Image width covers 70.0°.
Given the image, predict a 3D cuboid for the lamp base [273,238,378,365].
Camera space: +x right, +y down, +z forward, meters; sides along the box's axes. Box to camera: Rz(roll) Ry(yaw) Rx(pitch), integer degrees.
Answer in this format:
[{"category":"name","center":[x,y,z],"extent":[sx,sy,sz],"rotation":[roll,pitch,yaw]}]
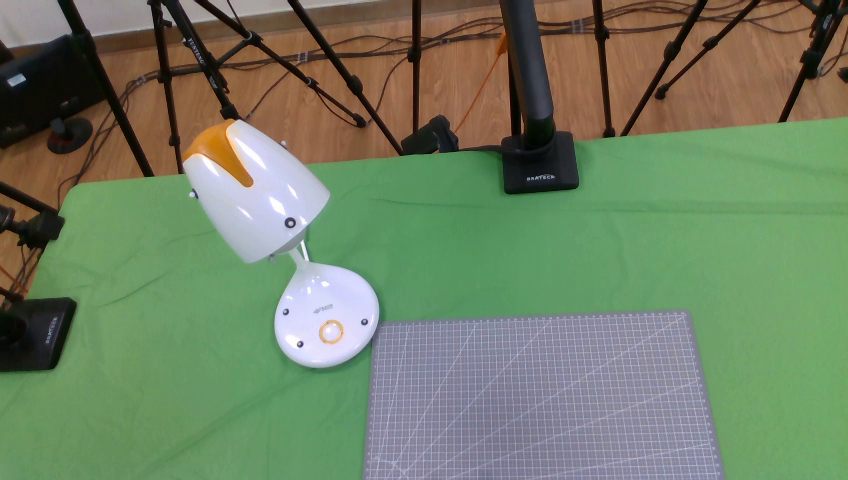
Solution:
[{"category":"lamp base","center":[-0.166,0.063,0.851],"extent":[0.160,0.182,0.177],"rotation":[-29,56,-8]}]

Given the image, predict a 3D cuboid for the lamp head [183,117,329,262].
[{"category":"lamp head","center":[-0.172,-0.058,0.593],"extent":[0.112,0.123,0.111],"rotation":[-34,18,13]}]
